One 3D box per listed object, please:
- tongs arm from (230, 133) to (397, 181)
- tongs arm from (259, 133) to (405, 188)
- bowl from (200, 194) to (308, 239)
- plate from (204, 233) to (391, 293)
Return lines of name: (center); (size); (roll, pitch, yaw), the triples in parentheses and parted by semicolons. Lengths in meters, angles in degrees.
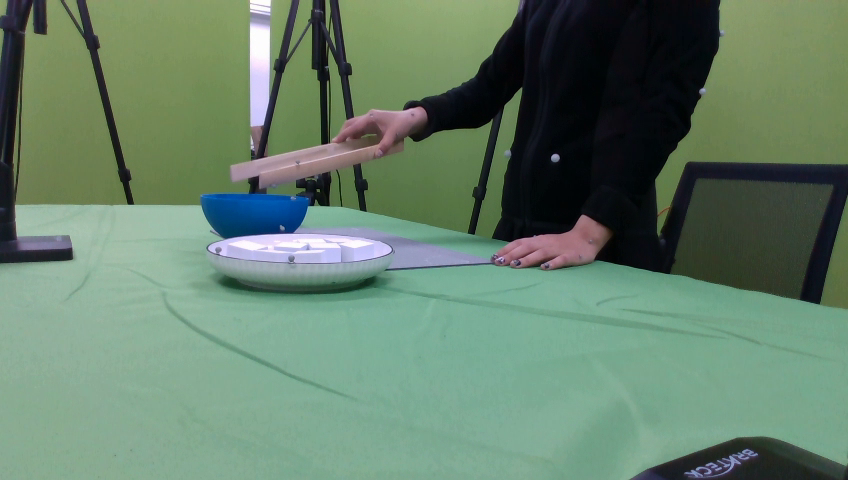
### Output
tongs arm: (-0.173, -0.149, 1.039); (0.028, 0.028, 0.389); (10, 21, 33)
tongs arm: (-0.142, -0.141, 1.021); (0.050, 0.026, 0.386); (14, 23, 32)
bowl: (-0.245, -0.025, 0.879); (0.151, 0.077, 0.151); (2, 7, 0)
plate: (-0.143, 0.025, 0.697); (0.208, 0.039, 0.207); (3, 9, 0)
